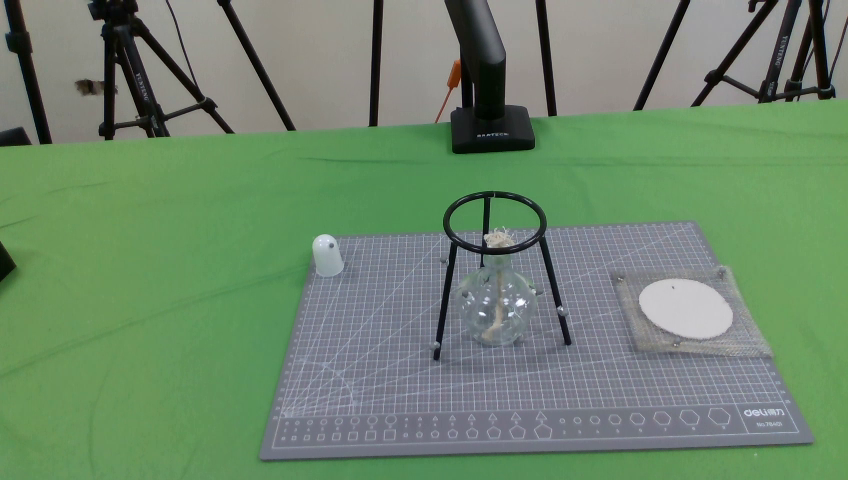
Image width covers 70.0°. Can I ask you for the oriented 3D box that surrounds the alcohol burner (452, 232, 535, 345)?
[{"bbox_3d":[0.065,0.041,0.565,0.078,0.120,0.077,-1,38,1],"label":"alcohol burner"}]

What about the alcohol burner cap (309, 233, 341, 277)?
[{"bbox_3d":[-0.112,0.014,0.673,0.034,0.048,0.033,-2,39,2],"label":"alcohol burner cap"}]

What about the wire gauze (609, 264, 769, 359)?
[{"bbox_3d":[0.256,0.066,0.599,0.125,0.011,0.120,1,39,4],"label":"wire gauze"}]

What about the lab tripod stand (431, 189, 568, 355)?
[{"bbox_3d":[0.066,0.031,0.561,0.148,0.132,0.147,-1,37,1],"label":"lab tripod stand"}]
